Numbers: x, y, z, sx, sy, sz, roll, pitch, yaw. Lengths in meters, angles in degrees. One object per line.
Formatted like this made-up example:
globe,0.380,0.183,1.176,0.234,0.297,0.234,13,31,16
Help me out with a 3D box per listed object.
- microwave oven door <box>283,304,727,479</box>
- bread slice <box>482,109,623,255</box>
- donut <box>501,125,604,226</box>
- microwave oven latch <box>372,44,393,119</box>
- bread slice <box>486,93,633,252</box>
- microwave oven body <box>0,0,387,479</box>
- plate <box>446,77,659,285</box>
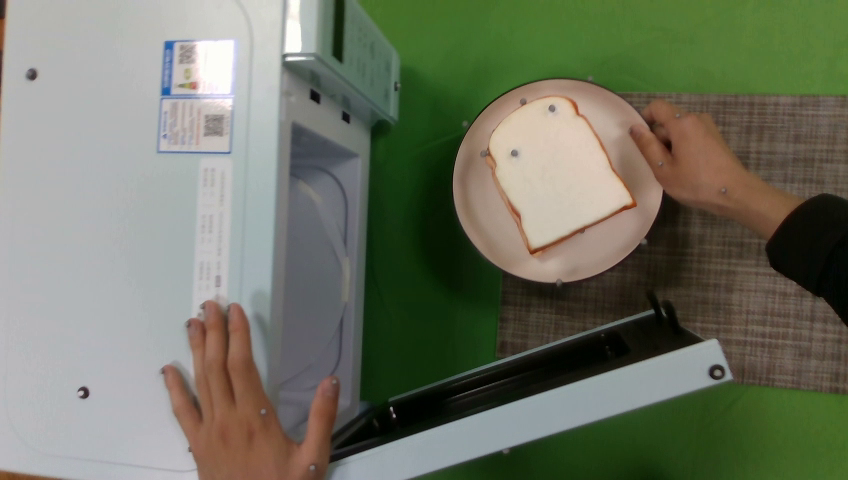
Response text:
microwave oven door,0.066,0.145,0.553,0.355,0.244,0.039,-22,83,12
bread slice,0.121,-0.064,0.621,0.107,0.018,0.134,-31,87,7
donut,0.123,-0.062,0.584,0.099,0.048,0.099,0,87,-3
microwave oven latch,-0.051,-0.178,0.686,0.030,0.029,0.079,2,90,12
bread slice,0.115,-0.067,0.561,0.105,0.019,0.131,-28,82,15
microwave oven body,-0.223,-0.008,0.623,0.325,0.261,0.441,1,90,12
plate,0.127,-0.058,0.617,0.207,0.039,0.207,0,89,11
